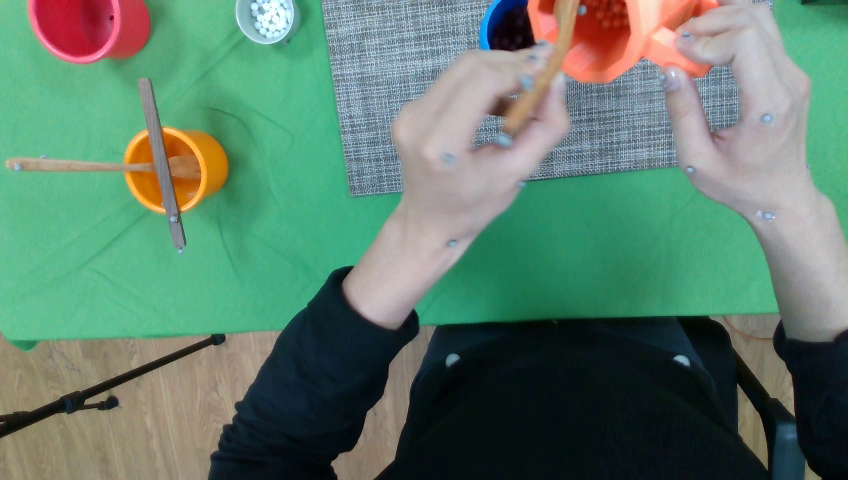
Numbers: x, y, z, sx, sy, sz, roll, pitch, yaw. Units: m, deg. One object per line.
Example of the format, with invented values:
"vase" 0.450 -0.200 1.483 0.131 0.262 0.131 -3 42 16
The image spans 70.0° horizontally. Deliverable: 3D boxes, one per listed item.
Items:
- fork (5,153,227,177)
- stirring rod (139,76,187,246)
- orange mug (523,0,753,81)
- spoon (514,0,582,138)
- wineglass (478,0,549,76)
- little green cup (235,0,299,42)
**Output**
"fork" -0.312 -0.079 0.633 0.208 0.018 0.028 -4 117 -38
"stirring rod" -0.269 -0.079 0.627 0.014 0.006 0.177 -5 104 8
"orange mug" 0.141 -0.155 0.394 0.101 0.084 0.125 -36 63 -23
"spoon" 0.081 -0.117 0.351 0.022 0.192 0.042 32 139 -12
"wineglass" 0.085 -0.184 0.547 0.073 0.171 0.074 2 104 6
"little green cup" -0.161 -0.237 0.632 0.061 0.038 0.062 2 106 7
